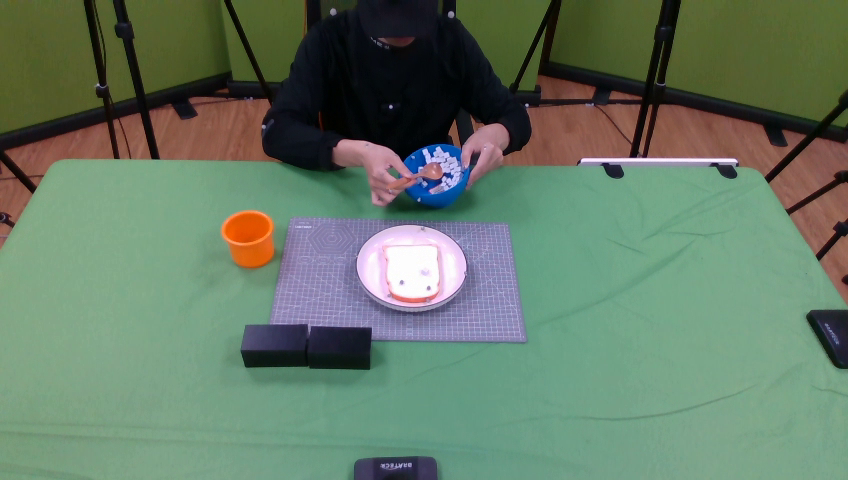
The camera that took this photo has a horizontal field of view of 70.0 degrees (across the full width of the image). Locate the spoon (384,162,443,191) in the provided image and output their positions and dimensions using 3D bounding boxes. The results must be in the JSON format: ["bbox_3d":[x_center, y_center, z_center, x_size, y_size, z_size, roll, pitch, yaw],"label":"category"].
[{"bbox_3d":[-0.021,-0.127,1.214,0.041,0.021,0.194,53,35,8],"label":"spoon"}]

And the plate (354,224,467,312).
[{"bbox_3d":[-0.025,0.055,1.128,0.209,0.038,0.208,3,46,-2],"label":"plate"}]

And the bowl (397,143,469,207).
[{"bbox_3d":[0.025,-0.122,1.260,0.151,0.077,0.150,-8,49,10],"label":"bowl"}]

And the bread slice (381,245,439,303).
[{"bbox_3d":[-0.022,0.061,1.126,0.107,0.018,0.133,-3,45,-8],"label":"bread slice"}]
